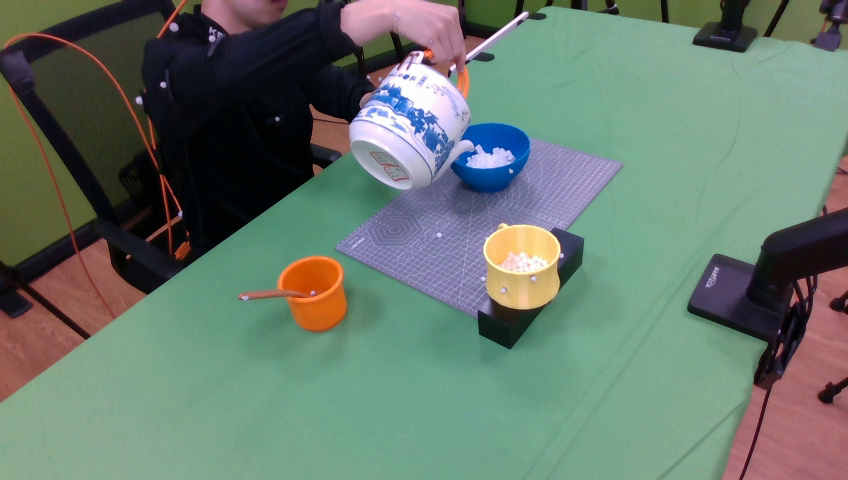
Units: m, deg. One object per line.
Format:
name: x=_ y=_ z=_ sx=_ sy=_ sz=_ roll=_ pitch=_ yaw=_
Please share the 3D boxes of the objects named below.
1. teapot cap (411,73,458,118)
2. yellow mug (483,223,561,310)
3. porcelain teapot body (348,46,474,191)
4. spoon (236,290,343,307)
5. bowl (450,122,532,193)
teapot cap: x=0.017 y=-0.225 z=0.928 sx=0.084 sy=0.086 sz=0.044 roll=20 pitch=64 yaw=29
yellow mug: x=0.126 y=0.025 z=0.811 sx=0.100 sy=0.064 sz=0.130 roll=-16 pitch=39 yaw=-9
porcelain teapot body: x=0.009 y=-0.178 z=0.935 sx=0.144 sy=0.207 sz=0.225 roll=15 pitch=64 yaw=41
spoon: x=-0.176 y=0.076 z=0.808 sx=0.041 sy=0.195 sz=0.021 roll=21 pitch=93 yaw=30
bowl: x=0.113 y=-0.136 z=1.063 sx=0.151 sy=0.077 sz=0.150 roll=-4 pitch=41 yaw=4
